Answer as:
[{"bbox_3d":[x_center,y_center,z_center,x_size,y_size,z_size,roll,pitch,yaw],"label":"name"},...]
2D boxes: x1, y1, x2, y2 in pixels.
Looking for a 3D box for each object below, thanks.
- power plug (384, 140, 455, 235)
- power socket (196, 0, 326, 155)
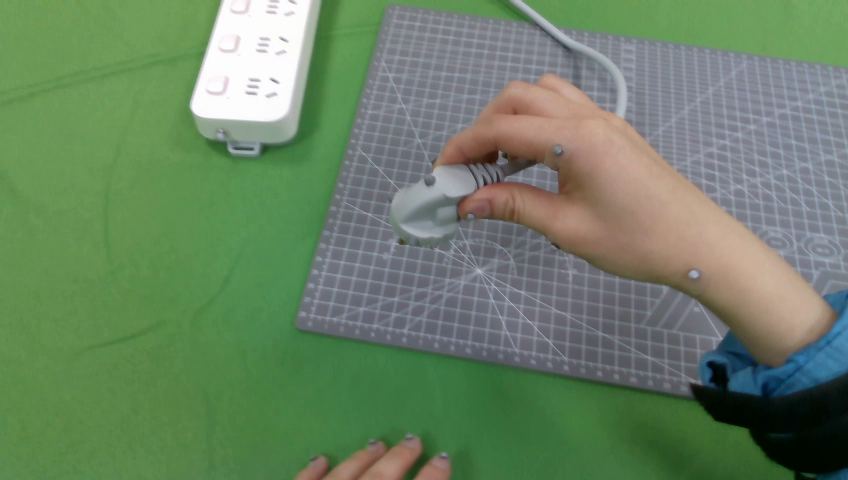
[{"bbox_3d":[0.004,-0.031,0.282,0.035,0.072,0.052,8,68,-17],"label":"power plug"},{"bbox_3d":[-0.121,-0.167,0.481,0.072,0.033,0.225,4,61,0],"label":"power socket"}]
